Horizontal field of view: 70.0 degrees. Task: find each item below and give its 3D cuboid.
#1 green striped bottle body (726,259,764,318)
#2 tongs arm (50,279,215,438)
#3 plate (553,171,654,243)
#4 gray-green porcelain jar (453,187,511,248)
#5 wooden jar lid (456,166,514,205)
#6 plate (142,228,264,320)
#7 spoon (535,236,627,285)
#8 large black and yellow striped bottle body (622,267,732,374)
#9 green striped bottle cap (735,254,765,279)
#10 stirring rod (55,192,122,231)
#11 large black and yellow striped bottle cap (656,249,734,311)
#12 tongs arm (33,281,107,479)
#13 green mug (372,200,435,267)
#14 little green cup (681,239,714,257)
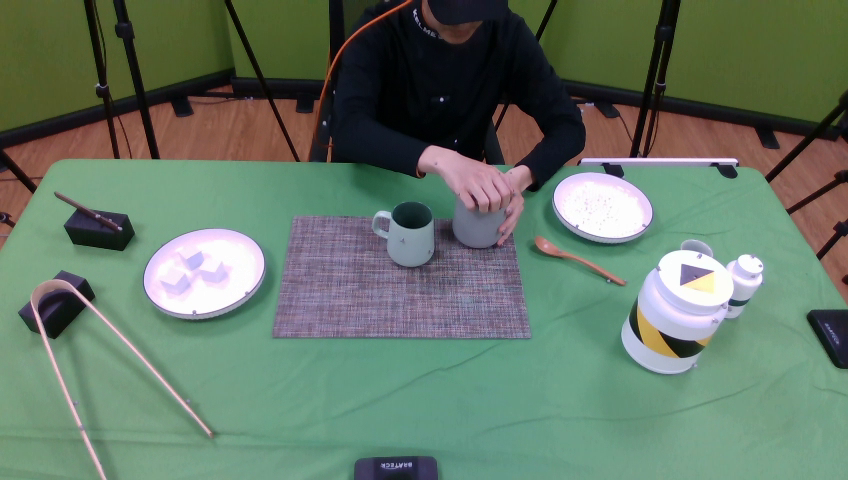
[{"bbox_3d":[0.563,0.081,1.089,0.063,0.120,0.063,2,46,-2],"label":"green striped bottle body"},{"bbox_3d":[-0.459,0.178,0.949,0.386,0.028,0.028,38,60,17],"label":"tongs arm"},{"bbox_3d":[0.373,-0.066,1.275,0.209,0.038,0.208,2,46,-2],"label":"plate"},{"bbox_3d":[0.110,-0.056,1.179,0.106,0.127,0.105,2,47,-2],"label":"gray-green porcelain jar"},{"bbox_3d":[0.112,-0.099,1.133,0.108,0.021,0.107,5,45,-5],"label":"wooden jar lid"},{"bbox_3d":[-0.394,0.064,1.095,0.208,0.039,0.206,2,46,-2],"label":"plate"},{"bbox_3d":[0.303,0.040,1.178,0.193,0.022,0.041,25,32,20],"label":"spoon"},{"bbox_3d":[0.415,0.119,0.997,0.131,0.185,0.130,2,46,-2],"label":"large black and yellow striped bottle body"},{"bbox_3d":[0.566,0.046,1.051,0.044,0.020,0.044,0,45,0],"label":"green striped bottle cap"},{"bbox_3d":[-0.632,-0.055,1.138,0.175,0.014,0.006,24,50,19],"label":"stirring rod"},{"bbox_3d":[0.419,0.061,0.938,0.115,0.019,0.114,2,47,-2],"label":"large black and yellow striped bottle cap"},{"bbox_3d":[-0.517,0.214,0.910,0.051,0.026,0.383,-28,63,-27],"label":"tongs arm"},{"bbox_3d":[-0.040,-0.015,1.146,0.125,0.105,0.092,16,48,12],"label":"green mug"},{"bbox_3d":[0.530,0.033,1.190,0.061,0.039,0.061,2,47,-2],"label":"little green cup"}]
